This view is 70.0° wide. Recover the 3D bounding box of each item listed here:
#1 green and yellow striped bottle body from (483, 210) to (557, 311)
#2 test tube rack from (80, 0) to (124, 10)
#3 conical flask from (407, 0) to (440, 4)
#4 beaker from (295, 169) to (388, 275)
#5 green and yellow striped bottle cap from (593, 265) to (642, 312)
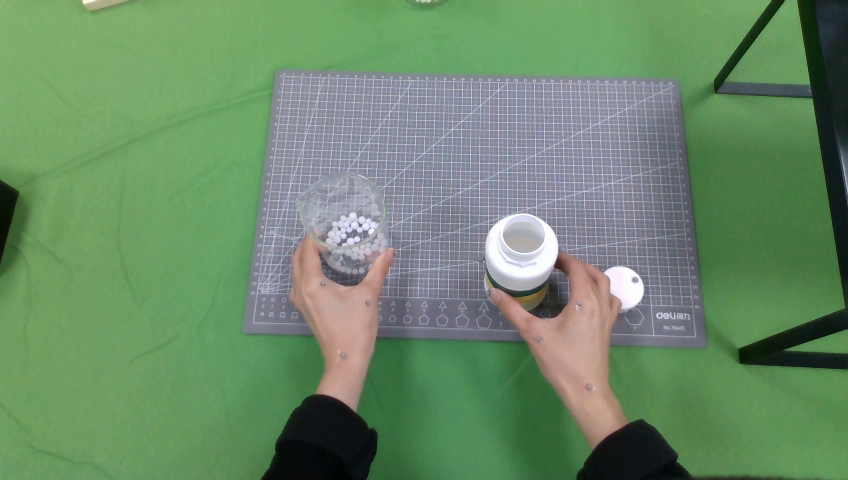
[{"bbox_3d":[0.085,0.017,0.548,0.063,0.120,0.062,-2,66,4],"label":"green and yellow striped bottle body"},{"bbox_3d":[-0.295,-0.351,0.696,0.242,0.085,0.066,-18,72,-6],"label":"test tube rack"},{"bbox_3d":[-0.001,-0.328,0.667,0.075,0.122,0.075,0,71,1],"label":"conical flask"},{"bbox_3d":[-0.074,-0.012,0.572,0.084,0.101,0.073,14,71,5],"label":"beaker"},{"bbox_3d":[0.190,0.047,0.595,0.045,0.020,0.045,0,69,1],"label":"green and yellow striped bottle cap"}]
